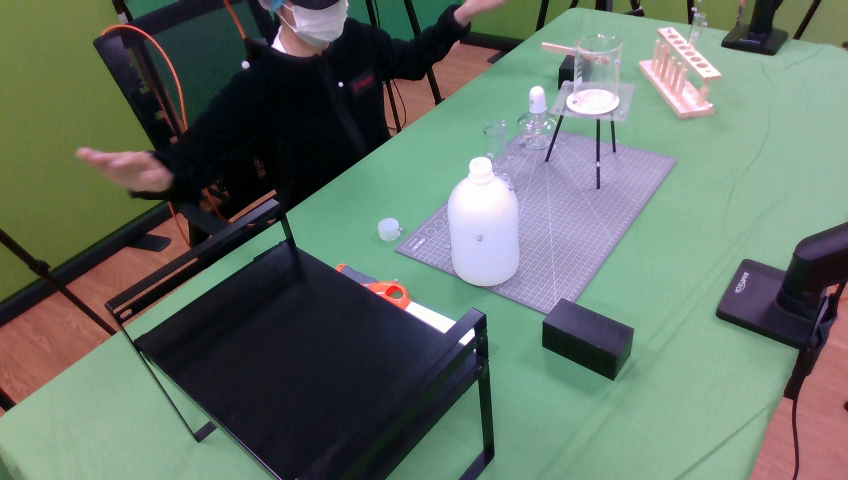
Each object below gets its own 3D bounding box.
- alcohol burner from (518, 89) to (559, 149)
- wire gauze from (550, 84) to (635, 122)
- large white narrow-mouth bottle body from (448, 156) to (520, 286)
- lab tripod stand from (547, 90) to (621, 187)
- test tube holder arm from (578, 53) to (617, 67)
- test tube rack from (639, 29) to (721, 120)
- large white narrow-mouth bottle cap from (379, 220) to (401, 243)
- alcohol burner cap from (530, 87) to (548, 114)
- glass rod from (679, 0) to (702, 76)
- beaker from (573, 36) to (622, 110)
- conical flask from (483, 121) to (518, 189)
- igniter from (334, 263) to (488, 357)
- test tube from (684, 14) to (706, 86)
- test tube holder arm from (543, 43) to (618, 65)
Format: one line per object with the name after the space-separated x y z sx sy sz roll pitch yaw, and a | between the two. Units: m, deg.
0.218 -0.235 1.149 0.078 0.119 0.077 -5 43 5 | alcohol burner
0.285 -0.234 1.021 0.124 0.011 0.121 8 41 23 | wire gauze
0.086 -0.032 0.869 0.102 0.195 0.101 -4 40 4 | large white narrow-mouth bottle body
0.289 -0.184 1.062 0.148 0.132 0.147 -6 41 6 | lab tripod stand
0.376 -0.393 1.314 0.087 0.015 0.010 26 51 32 | test tube holder arm
0.527 -0.351 1.262 0.067 0.085 0.241 -8 40 1 | test tube rack
-0.057 -0.015 1.011 0.038 0.024 0.037 -4 40 4 | large white narrow-mouth bottle cap
0.212 -0.262 1.126 0.034 0.048 0.033 -8 37 7 | alcohol burner cap
0.543 -0.417 1.233 0.008 0.200 0.008 1 39 0 | glass rod
0.283 -0.273 0.990 0.073 0.101 0.084 16 46 28 | beaker
0.126 -0.145 1.051 0.075 0.122 0.075 -5 41 4 | conical flask
-0.030 0.095 0.872 0.274 0.025 0.057 23 60 31 | igniter
0.540 -0.378 1.215 0.017 0.151 0.017 -2 44 3 | test tube
0.345 -0.413 1.341 0.177 0.015 0.013 25 50 32 | test tube holder arm
